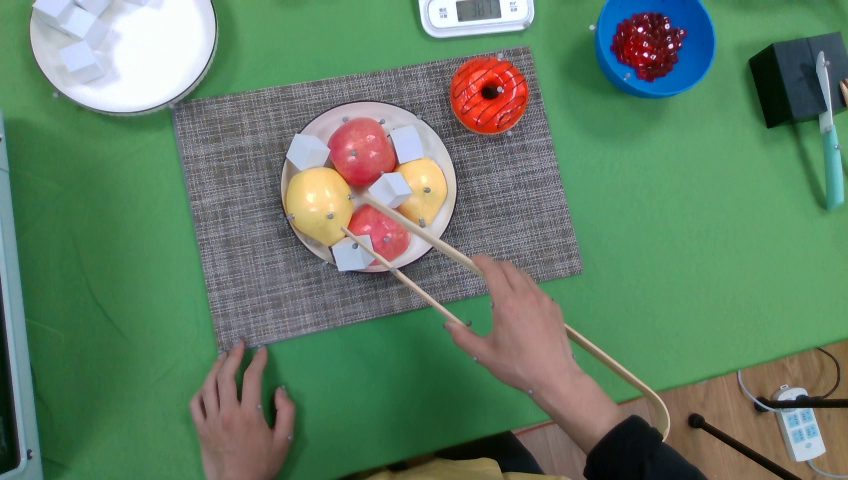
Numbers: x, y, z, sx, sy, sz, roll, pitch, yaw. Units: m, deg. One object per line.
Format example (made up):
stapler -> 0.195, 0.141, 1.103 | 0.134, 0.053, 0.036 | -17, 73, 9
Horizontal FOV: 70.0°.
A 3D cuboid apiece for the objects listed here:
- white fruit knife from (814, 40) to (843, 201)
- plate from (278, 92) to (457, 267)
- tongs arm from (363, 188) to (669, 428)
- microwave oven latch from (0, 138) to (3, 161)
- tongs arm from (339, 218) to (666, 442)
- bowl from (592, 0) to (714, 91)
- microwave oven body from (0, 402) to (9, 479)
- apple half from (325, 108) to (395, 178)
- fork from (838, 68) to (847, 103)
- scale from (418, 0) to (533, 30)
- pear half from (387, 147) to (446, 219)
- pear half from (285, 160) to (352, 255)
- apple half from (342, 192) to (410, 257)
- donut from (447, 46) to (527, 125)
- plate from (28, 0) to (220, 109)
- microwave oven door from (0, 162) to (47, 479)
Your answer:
white fruit knife -> 0.519, -0.151, 0.780 | 0.016, 0.027, 0.208 | -14, 100, -8
plate -> -0.065, -0.070, 0.721 | 0.209, 0.038, 0.208 | 1, 84, -7
tongs arm -> 0.091, 0.063, 0.625 | 0.387, 0.028, 0.028 | 36, 74, 5
microwave oven latch -> -0.485, -0.126, 0.663 | 0.030, 0.029, 0.079 | -7, 85, -8
tongs arm -> 0.075, 0.084, 0.619 | 0.384, 0.026, 0.050 | 39, 78, 6
bowl -> 0.274, -0.251, 0.764 | 0.151, 0.077, 0.151 | 1, 85, -6
microwave oven body -> -0.588, 0.060, 0.534 | 0.326, 0.260, 0.440 | -9, 86, -8
apple half -> -0.076, -0.115, 0.707 | 0.075, 0.053, 0.081 | -24, 90, -6
fork -> 0.574, -0.124, 0.792 | 0.028, 0.018, 0.208 | -22, 102, -11
scale -> 0.057, -0.373, 0.774 | 0.149, 0.031, 0.200 | -8, 85, -7
pear half -> -0.009, -0.070, 0.721 | 0.070, 0.031, 0.087 | -11, 83, 6
pear half -> -0.114, -0.037, 0.690 | 0.076, 0.056, 0.110 | -18, 90, -16
apple half -> -0.057, -0.019, 0.708 | 0.081, 0.033, 0.081 | 1, 78, -6
donut -> 0.077, -0.190, 0.747 | 0.099, 0.048, 0.099 | 0, 85, -4
plate -> -0.345, -0.251, 0.712 | 0.208, 0.039, 0.207 | 1, 84, -7
microwave oven door -> -0.437, 0.077, 0.544 | 0.039, 0.244, 0.355 | -10, 85, -7
